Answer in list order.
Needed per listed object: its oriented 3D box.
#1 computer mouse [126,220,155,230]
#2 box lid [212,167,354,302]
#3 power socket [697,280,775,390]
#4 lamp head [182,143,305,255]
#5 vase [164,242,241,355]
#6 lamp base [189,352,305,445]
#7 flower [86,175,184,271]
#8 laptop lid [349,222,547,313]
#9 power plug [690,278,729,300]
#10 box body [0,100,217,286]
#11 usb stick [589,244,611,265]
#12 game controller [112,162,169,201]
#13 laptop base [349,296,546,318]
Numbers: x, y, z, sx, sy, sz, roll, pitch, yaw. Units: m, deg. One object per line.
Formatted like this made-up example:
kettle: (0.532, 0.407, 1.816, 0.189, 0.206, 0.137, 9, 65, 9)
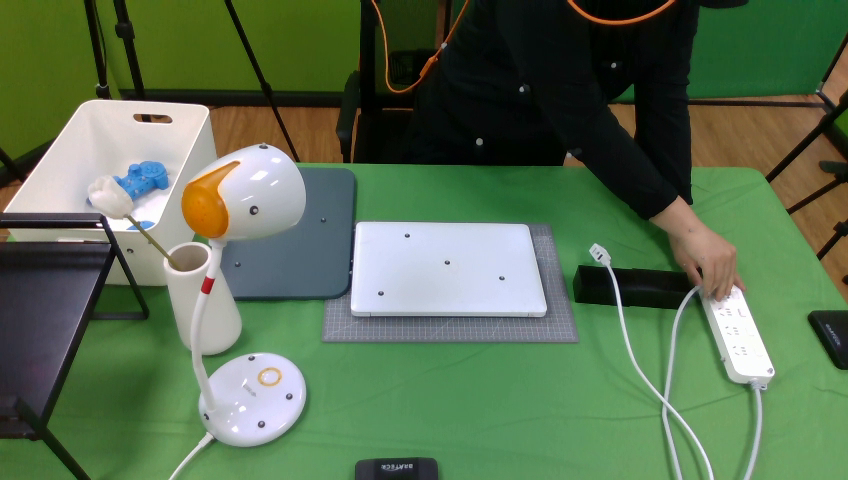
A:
computer mouse: (-0.537, 0.008, 1.127, 0.062, 0.041, 0.117, 32, 56, 20)
box lid: (-0.277, -0.024, 1.205, 0.263, 0.015, 0.369, 0, 46, -4)
power socket: (0.550, 0.159, 1.079, 0.072, 0.033, 0.225, 3, 46, -1)
lamp head: (-0.216, -0.044, 0.697, 0.112, 0.113, 0.123, 23, 31, 17)
vase: (-0.349, 0.096, 0.954, 0.098, 0.201, 0.097, 3, 47, -3)
lamp base: (-0.268, 0.196, 0.876, 0.160, 0.181, 0.179, 26, 52, 20)
flower: (-0.365, 0.038, 0.894, 0.038, 0.364, 0.044, -4, 53, 15)
laptop lid: (0.041, 0.046, 1.143, 0.357, 0.013, 0.240, 2, 44, -3)
power plug: (0.523, 0.090, 1.119, 0.072, 0.053, 0.035, 9, 48, 11)
box body: (-0.559, -0.092, 1.145, 0.254, 0.161, 0.361, 3, 46, -2)
usb stick: (0.339, 0.025, 1.172, 0.027, 0.021, 0.059, 28, 18, -8)
game controller: (-0.597, -0.113, 1.234, 0.097, 0.052, 0.155, 29, 51, 20)
laptop base: (0.040, 0.056, 1.149, 0.355, 0.023, 0.234, 1, 43, -4)
